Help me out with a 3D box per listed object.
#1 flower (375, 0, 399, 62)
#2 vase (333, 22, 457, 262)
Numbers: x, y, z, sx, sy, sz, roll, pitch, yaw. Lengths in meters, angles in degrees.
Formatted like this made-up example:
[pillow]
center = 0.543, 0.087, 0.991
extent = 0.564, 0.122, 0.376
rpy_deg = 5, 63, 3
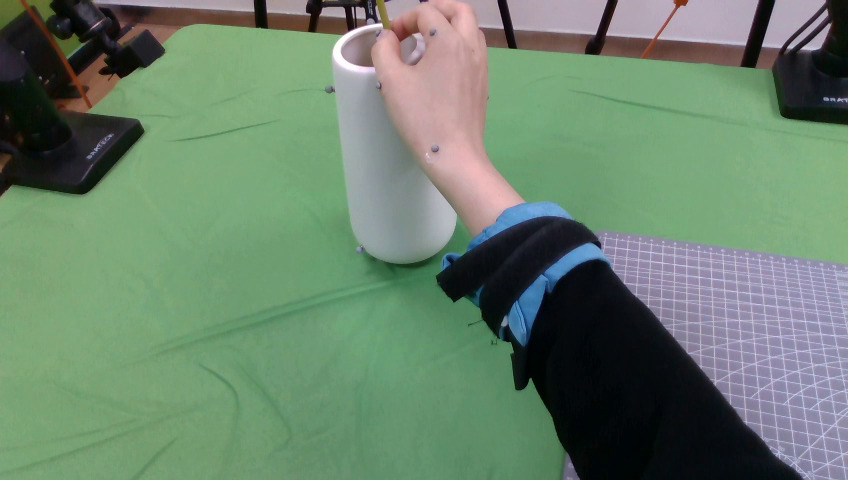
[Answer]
[flower]
center = -0.024, -0.144, 0.425
extent = 0.044, 0.365, 0.038
rpy_deg = -6, 39, 11
[vase]
center = -0.023, -0.074, 0.507
extent = 0.098, 0.202, 0.097
rpy_deg = -2, 46, 2
